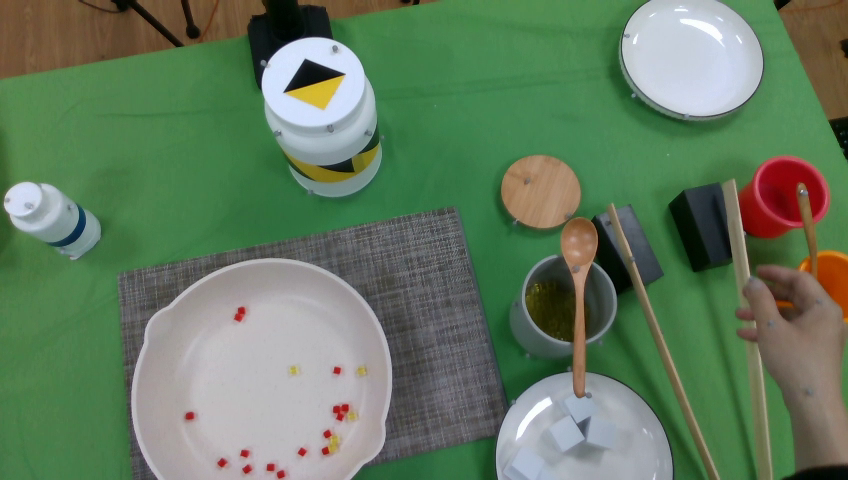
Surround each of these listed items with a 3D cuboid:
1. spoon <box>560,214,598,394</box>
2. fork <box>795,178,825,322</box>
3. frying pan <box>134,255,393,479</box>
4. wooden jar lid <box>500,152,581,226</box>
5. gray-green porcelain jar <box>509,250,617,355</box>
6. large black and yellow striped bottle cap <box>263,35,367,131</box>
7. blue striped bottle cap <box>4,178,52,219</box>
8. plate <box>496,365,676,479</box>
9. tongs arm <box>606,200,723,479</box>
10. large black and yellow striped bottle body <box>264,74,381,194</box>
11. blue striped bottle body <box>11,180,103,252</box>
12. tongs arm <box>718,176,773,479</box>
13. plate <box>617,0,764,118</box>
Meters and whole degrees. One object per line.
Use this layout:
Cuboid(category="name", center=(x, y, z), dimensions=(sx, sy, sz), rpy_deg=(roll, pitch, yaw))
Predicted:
Cuboid(category="spoon", center=(0.167, 0.067, 0.654), dimensions=(0.041, 0.022, 0.193), rpy_deg=(4, 76, 0))
Cuboid(category="fork", center=(0.468, 0.016, 0.735), dimensions=(0.028, 0.018, 0.209), rpy_deg=(-25, 119, 0))
Cuboid(category="frying pan", center=(-0.230, 0.246, 0.672), dimensions=(0.306, 0.103, 0.486), rpy_deg=(28, 66, 8))
Cuboid(category="wooden jar lid", center=(0.158, -0.068, 0.825), dimensions=(0.108, 0.021, 0.108), rpy_deg=(0, 74, -1))
Cuboid(category="gray-green porcelain jar", center=(0.159, 0.080, 0.723), dimensions=(0.106, 0.127, 0.105), rpy_deg=(0, 72, -1))
Cuboid(category="large black and yellow striped bottle cap", center=(-0.122, -0.177, 0.681), dimensions=(0.115, 0.019, 0.114), rpy_deg=(0, 74, -1))
Cuboid(category="blue striped bottle cap", center=(-0.459, -0.049, 0.701), dimensions=(0.044, 0.021, 0.044), rpy_deg=(0, 74, -1))
Cuboid(category="plate", center=(0.188, 0.253, 0.715), dimensions=(0.208, 0.039, 0.206), rpy_deg=(0, 72, -1))
Cuboid(category="tongs arm", center=(0.305, 0.128, 0.728), dimensions=(0.051, 0.026, 0.383), rpy_deg=(-16, 84, -9))
Cuboid(category="large black and yellow striped bottle body", center=(-0.124, -0.150, 0.760), dimensions=(0.131, 0.185, 0.130), rpy_deg=(0, 72, -1))
Cuboid(category="blue striped bottle body", center=(-0.458, -0.032, 0.750), dimensions=(0.063, 0.121, 0.062), rpy_deg=(0, 72, 0))
Cuboid(category="tongs arm", center=(0.387, 0.112, 0.737), dimensions=(0.028, 0.028, 0.386), rpy_deg=(-2, 82, -10))
Cuboid(category="plate", center=(0.383, -0.266, 0.881), dimensions=(0.209, 0.038, 0.208), rpy_deg=(0, 72, 0))
